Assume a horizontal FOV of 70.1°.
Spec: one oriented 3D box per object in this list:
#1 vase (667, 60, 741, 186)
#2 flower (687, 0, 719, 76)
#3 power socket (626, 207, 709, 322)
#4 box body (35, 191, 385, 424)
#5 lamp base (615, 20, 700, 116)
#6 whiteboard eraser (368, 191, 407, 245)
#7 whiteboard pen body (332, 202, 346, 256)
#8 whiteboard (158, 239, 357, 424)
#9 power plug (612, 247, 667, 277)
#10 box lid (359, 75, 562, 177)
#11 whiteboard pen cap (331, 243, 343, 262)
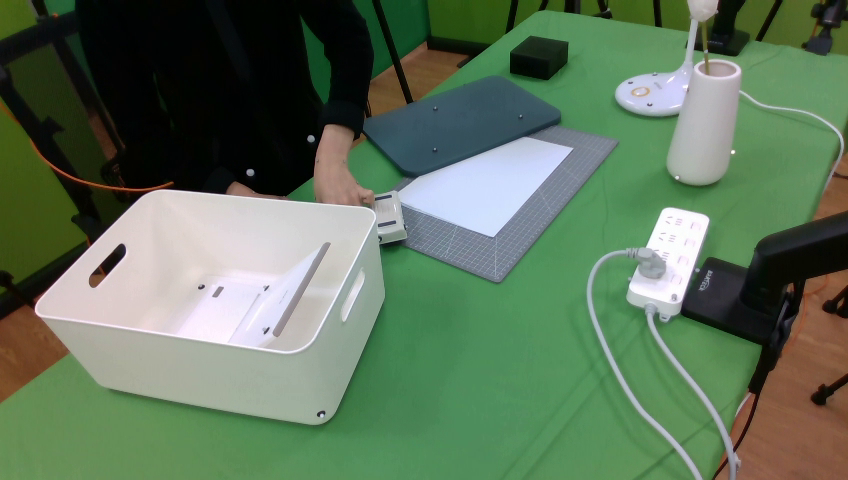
[{"bbox_3d":[0.463,-0.189,0.995,0.098,0.201,0.097,-4,40,4],"label":"vase"},{"bbox_3d":[0.436,-0.242,0.934,0.038,0.364,0.043,-24,49,8],"label":"flower"},{"bbox_3d":[0.360,0.026,0.886,0.072,0.033,0.227,17,46,27],"label":"power socket"},{"bbox_3d":[-0.254,0.081,0.807,0.363,0.161,0.253,5,42,14],"label":"box body"},{"bbox_3d":[0.484,-0.364,1.211,0.180,0.181,0.159,-15,41,-14],"label":"lamp base"},{"bbox_3d":[-0.061,-0.035,1.005,0.056,0.042,0.112,-9,40,-3],"label":"whiteboard eraser"},{"bbox_3d":[-0.145,-0.019,1.022,0.017,0.017,0.140,-5,39,2],"label":"whiteboard pen body"},{"bbox_3d":[-0.242,0.093,0.809,0.304,0.144,0.216,5,44,13],"label":"whiteboard"},{"bbox_3d":[0.306,0.031,0.852,0.072,0.053,0.035,21,48,38],"label":"power plug"},{"bbox_3d":[0.075,-0.249,1.267,0.373,0.015,0.261,-23,42,-18],"label":"box lid"},{"bbox_3d":[-0.140,0.019,0.977,0.018,0.018,0.033,-6,39,1],"label":"whiteboard pen cap"}]
